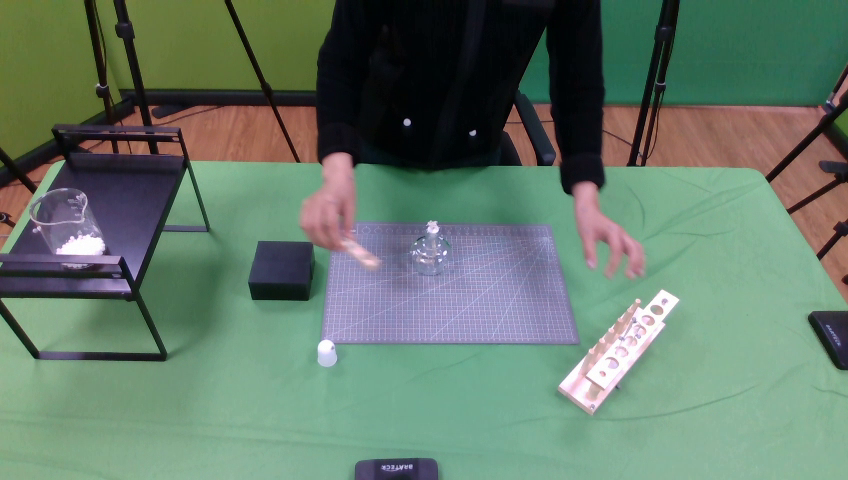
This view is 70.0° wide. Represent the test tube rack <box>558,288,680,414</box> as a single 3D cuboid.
[{"bbox_3d":[0.327,0.171,1.009,0.066,0.085,0.242,36,54,27],"label":"test tube rack"}]

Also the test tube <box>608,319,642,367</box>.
[{"bbox_3d":[0.308,0.169,0.940,0.017,0.151,0.017,1,49,-1],"label":"test tube"}]

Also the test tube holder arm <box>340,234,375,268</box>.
[{"bbox_3d":[-0.109,0.017,0.957,0.010,0.015,0.087,-29,50,-35],"label":"test tube holder arm"}]

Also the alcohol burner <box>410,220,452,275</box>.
[{"bbox_3d":[0.013,0.008,1.120,0.078,0.120,0.077,1,48,-1],"label":"alcohol burner"}]

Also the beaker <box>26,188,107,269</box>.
[{"bbox_3d":[-0.504,-0.012,0.867,0.084,0.101,0.074,23,49,17],"label":"beaker"}]

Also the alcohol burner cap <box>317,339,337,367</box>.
[{"bbox_3d":[-0.161,0.182,0.995,0.034,0.048,0.033,2,46,-2],"label":"alcohol burner cap"}]

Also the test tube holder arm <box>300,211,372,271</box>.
[{"bbox_3d":[-0.145,-0.002,0.978,0.177,0.015,0.013,34,47,31],"label":"test tube holder arm"}]
